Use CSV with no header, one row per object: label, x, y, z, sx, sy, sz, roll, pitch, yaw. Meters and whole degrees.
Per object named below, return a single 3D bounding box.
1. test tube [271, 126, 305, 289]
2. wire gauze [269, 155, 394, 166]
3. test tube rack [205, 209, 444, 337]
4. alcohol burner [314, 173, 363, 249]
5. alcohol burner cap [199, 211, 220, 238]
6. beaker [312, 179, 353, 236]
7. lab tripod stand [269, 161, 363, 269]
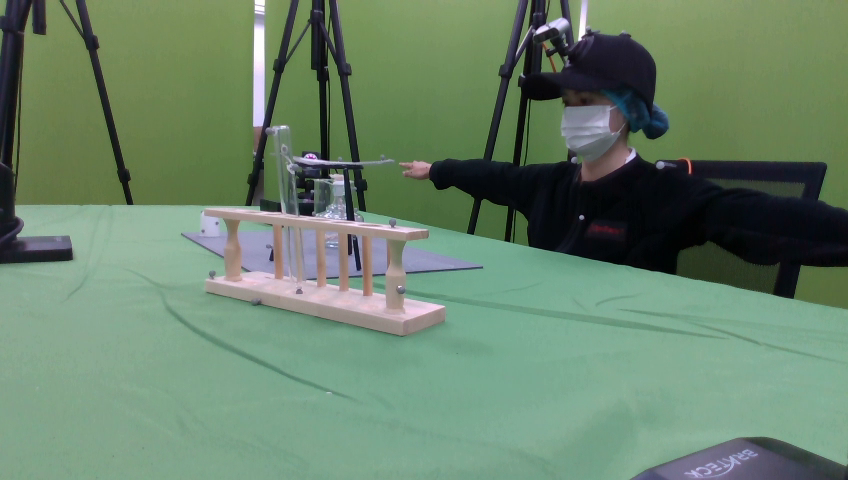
test tube,-0.124,-0.028,0.554,0.017,0.150,0.017,-5,7,1
wire gauze,-0.121,-0.102,0.785,0.122,0.011,0.124,-3,10,-39
test tube rack,-0.100,0.021,0.565,0.241,0.085,0.067,7,9,32
alcohol burner,-0.135,-0.046,0.952,0.078,0.119,0.078,1,9,0
alcohol burner cap,-0.356,-0.027,1.002,0.034,0.048,0.034,2,7,0
beaker,-0.168,-0.060,1.104,0.074,0.100,0.083,1,8,-13
lab tripod stand,-0.125,-0.036,0.794,0.148,0.131,0.148,5,7,0
